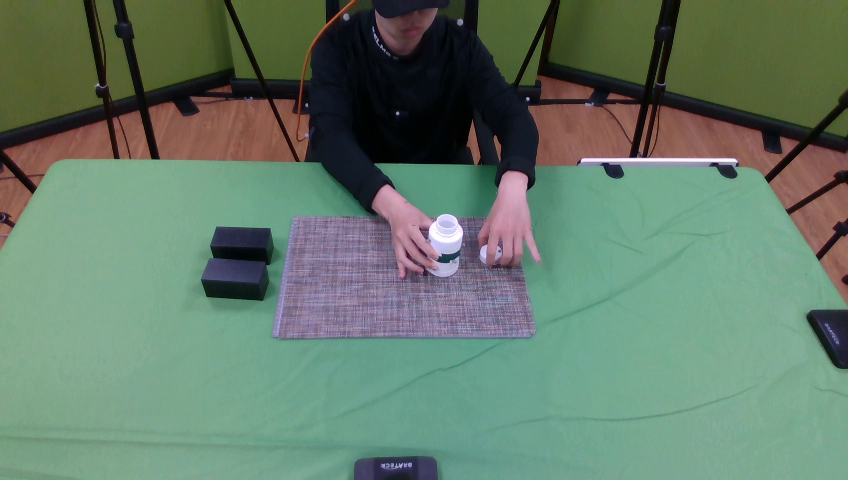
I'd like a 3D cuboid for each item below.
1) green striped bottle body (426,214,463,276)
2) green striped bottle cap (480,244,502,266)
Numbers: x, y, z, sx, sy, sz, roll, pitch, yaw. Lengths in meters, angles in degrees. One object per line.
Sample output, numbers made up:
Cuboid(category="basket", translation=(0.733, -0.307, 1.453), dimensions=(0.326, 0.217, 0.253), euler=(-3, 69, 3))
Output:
Cuboid(category="green striped bottle body", translation=(0.038, 0.007, 1.120), dimensions=(0.063, 0.120, 0.063), euler=(2, 48, -2))
Cuboid(category="green striped bottle cap", translation=(0.130, 0.029, 1.181), dimensions=(0.044, 0.020, 0.044), euler=(-4, 47, 5))
